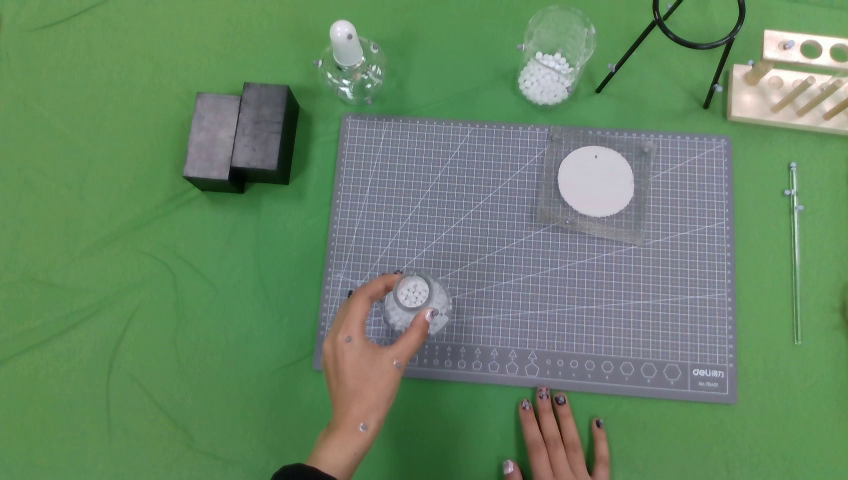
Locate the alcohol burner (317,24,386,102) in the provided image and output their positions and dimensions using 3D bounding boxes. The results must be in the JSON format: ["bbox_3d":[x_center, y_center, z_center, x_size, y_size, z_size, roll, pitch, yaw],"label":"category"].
[{"bbox_3d":[-0.083,-0.202,0.670,0.078,0.119,0.077,-1,79,4],"label":"alcohol burner"}]

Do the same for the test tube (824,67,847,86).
[{"bbox_3d":[0.454,-0.194,0.616,0.017,0.151,0.017,-1,77,5],"label":"test tube"}]

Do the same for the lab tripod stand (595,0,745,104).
[{"bbox_3d":[0.267,-0.215,0.653,0.148,0.132,0.148,0,80,3],"label":"lab tripod stand"}]

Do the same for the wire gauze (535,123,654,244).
[{"bbox_3d":[0.194,-0.067,0.685,0.125,0.011,0.121,12,79,2],"label":"wire gauze"}]

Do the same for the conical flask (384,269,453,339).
[{"bbox_3d":[-0.009,0.058,0.606,0.075,0.122,0.075,0,78,2],"label":"conical flask"}]

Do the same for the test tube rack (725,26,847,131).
[{"bbox_3d":[0.471,-0.167,0.661,0.242,0.085,0.066,8,78,4],"label":"test tube rack"}]

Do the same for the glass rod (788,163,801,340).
[{"bbox_3d":[0.406,0.010,0.665,0.008,0.008,0.199,5,78,3],"label":"glass rod"}]

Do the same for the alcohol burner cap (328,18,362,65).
[{"bbox_3d":[-0.084,-0.212,0.636,0.034,0.048,0.033,0,72,0],"label":"alcohol burner cap"}]

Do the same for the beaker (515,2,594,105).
[{"bbox_3d":[0.141,-0.198,0.671,0.074,0.100,0.083,-14,78,-1],"label":"beaker"}]
